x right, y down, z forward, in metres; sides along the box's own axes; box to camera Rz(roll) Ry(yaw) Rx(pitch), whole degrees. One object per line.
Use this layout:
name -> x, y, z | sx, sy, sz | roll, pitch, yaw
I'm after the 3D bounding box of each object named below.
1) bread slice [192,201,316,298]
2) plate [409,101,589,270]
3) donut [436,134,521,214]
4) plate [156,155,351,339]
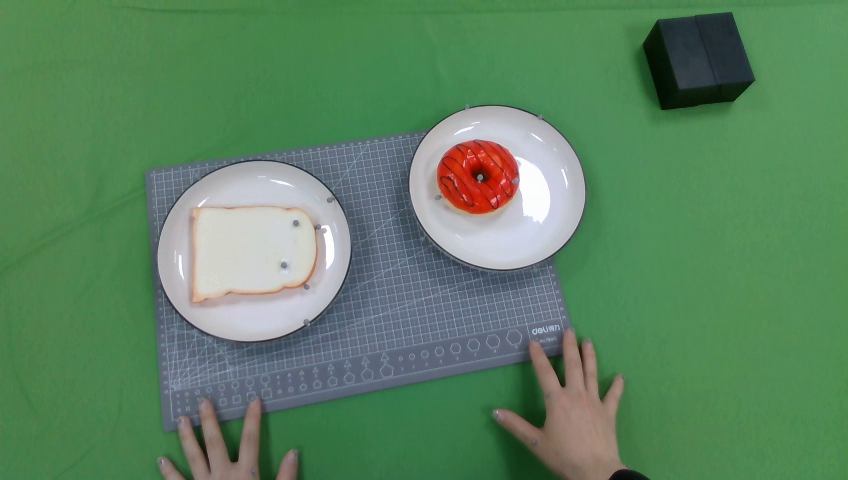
bread slice -> -0.189, 0.005, 0.672 | 0.134, 0.018, 0.106 | -7, 75, -6
plate -> 0.086, -0.063, 0.710 | 0.208, 0.039, 0.206 | 1, 73, -3
donut -> 0.063, -0.077, 0.700 | 0.099, 0.048, 0.098 | 1, 70, -1
plate -> -0.184, 0.009, 0.671 | 0.209, 0.038, 0.208 | 1, 73, -4
